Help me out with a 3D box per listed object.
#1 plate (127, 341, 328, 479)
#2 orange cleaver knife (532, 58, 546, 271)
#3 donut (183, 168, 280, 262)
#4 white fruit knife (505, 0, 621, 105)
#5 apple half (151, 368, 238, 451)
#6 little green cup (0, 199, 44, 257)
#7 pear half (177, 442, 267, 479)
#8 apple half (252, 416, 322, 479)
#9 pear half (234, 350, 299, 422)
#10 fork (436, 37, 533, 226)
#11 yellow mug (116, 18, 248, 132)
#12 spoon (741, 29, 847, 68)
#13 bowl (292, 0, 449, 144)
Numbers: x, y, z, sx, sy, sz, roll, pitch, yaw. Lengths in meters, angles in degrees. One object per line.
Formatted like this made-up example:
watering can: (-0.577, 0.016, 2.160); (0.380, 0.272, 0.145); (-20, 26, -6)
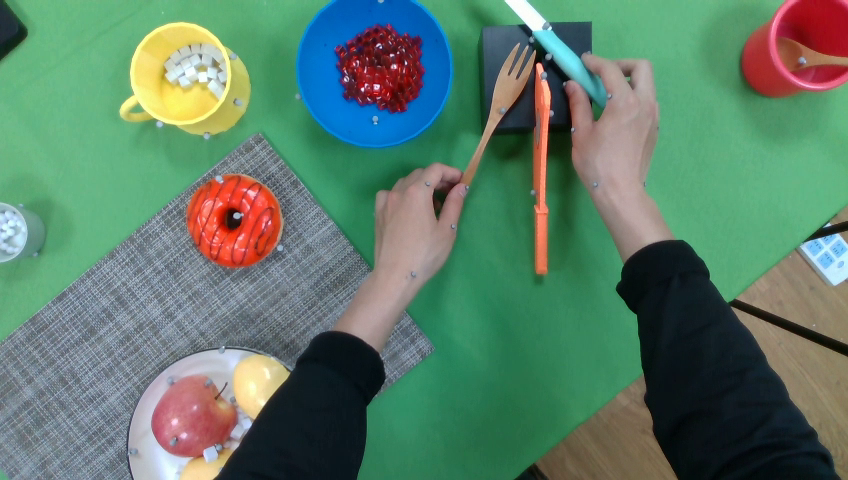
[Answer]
plate: (-0.203, 0.207, 0.641); (0.209, 0.038, 0.209); (0, 92, 0)
orange cleaver knife: (0.115, -0.072, 0.614); (0.012, 0.076, 0.213); (-2, 116, 5)
donut: (-0.200, -0.026, 0.630); (0.099, 0.048, 0.099); (0, 94, 1)
white fruit knife: (0.115, -0.207, 0.594); (0.207, 0.016, 0.027); (46, 62, 0)
apple half: (-0.241, 0.179, 0.622); (0.074, 0.053, 0.081); (-34, 95, 1)
little green cup: (-0.437, -0.012, 0.636); (0.061, 0.038, 0.061); (0, 92, 1)
pear half: (-0.201, 0.257, 0.629); (0.110, 0.056, 0.076); (12, 96, -4)
apple half: (-0.150, 0.224, 0.625); (0.081, 0.032, 0.081); (5, 109, 15)
pear half: (-0.167, 0.158, 0.626); (0.070, 0.031, 0.088); (-12, 96, 20)
fork: (0.056, -0.102, 0.611); (0.028, 0.018, 0.208); (23, 113, -4)
yellow mug: (-0.253, -0.158, 0.618); (0.131, 0.064, 0.100); (-28, 92, 1)
spoon: (0.405, -0.175, 0.581); (0.192, 0.022, 0.041); (27, 92, 43)
bowl: (-0.051, -0.168, 0.613); (0.151, 0.077, 0.151); (0, 92, -1)
